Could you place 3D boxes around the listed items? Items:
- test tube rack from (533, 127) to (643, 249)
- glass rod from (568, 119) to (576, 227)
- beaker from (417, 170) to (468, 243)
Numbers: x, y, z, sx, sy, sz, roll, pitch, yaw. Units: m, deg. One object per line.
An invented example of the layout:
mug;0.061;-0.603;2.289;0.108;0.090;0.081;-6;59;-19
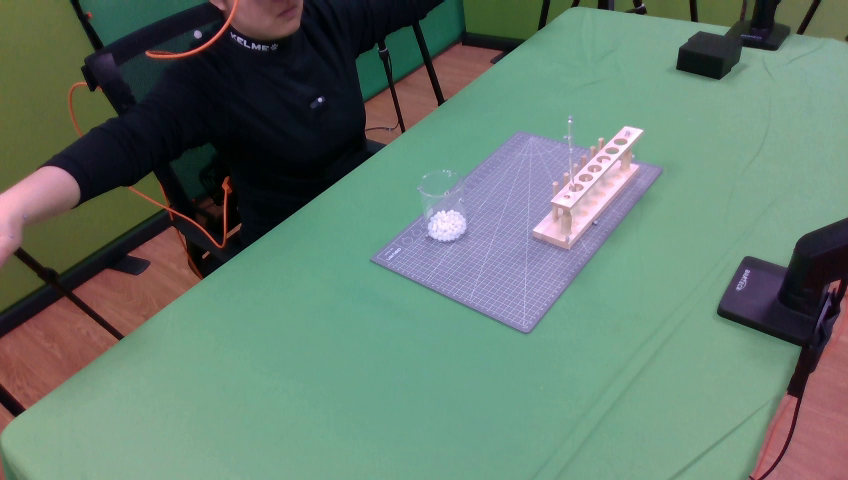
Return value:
test tube rack;0.271;-0.094;0.989;0.066;0.085;0.243;23;50;33
glass rod;0.218;-0.093;0.893;0.008;0.201;0.008;-8;43;8
beaker;0.034;-0.054;0.976;0.073;0.101;0.084;9;42;20
